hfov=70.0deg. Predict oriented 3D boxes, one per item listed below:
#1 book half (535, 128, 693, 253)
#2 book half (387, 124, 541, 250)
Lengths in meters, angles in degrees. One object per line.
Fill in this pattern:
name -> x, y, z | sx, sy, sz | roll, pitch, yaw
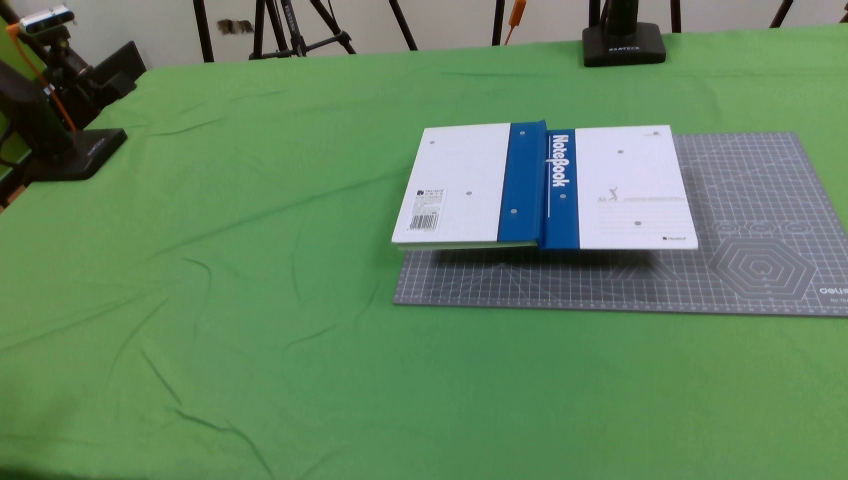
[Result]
book half -> 0.192, -0.059, 0.638 | 0.143, 0.007, 0.208 | 0, 42, 12
book half -> 0.051, -0.063, 0.662 | 0.148, 0.016, 0.208 | -1, 43, 13
